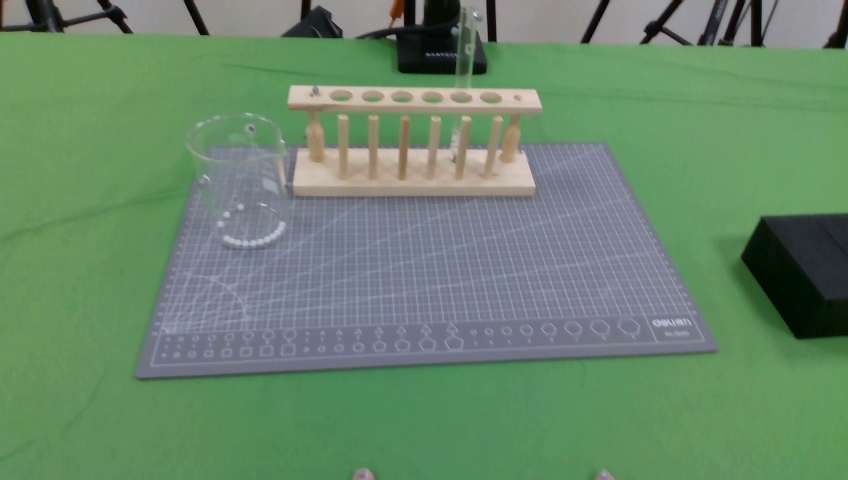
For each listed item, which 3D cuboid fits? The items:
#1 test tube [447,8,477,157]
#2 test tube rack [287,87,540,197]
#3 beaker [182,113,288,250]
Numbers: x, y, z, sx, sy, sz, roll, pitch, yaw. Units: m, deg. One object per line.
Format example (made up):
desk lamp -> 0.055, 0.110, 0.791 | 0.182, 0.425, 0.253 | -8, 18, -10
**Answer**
test tube -> 0.036, -0.148, 0.589 | 0.017, 0.151, 0.017 | 3, 39, -2
test tube rack -> -0.010, -0.097, 0.604 | 0.243, 0.086, 0.066 | 0, 43, -5
beaker -> -0.156, -0.047, 0.528 | 0.084, 0.101, 0.073 | 13, 44, 8
